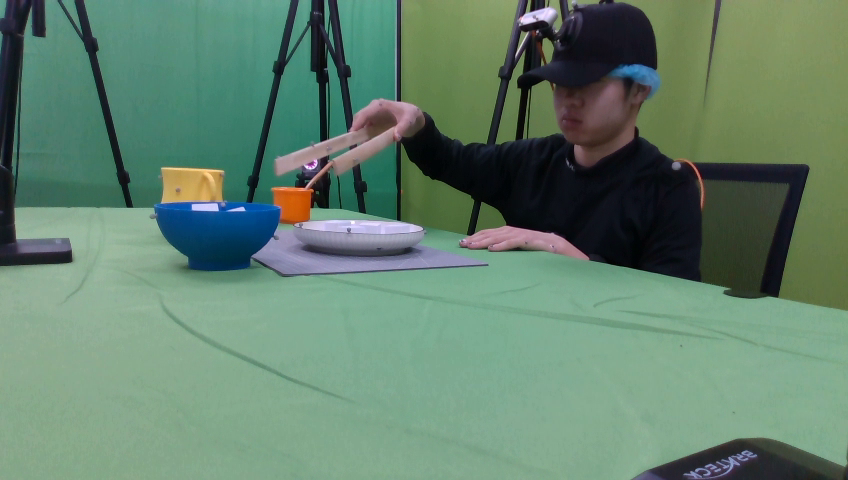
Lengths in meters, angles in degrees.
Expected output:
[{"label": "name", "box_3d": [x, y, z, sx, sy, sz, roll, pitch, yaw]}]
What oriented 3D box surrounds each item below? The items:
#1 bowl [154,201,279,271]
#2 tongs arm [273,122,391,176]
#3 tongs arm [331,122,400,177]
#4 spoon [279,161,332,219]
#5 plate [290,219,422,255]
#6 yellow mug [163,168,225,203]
[{"label": "bowl", "box_3d": [-0.261, -0.005, 0.770, 0.151, 0.077, 0.151, 3, 8, 0]}, {"label": "tongs arm", "box_3d": [-0.143, -0.166, 1.055, 0.050, 0.026, 0.385, 1, 19, 17]}, {"label": "tongs arm", "box_3d": [-0.092, -0.163, 1.041, 0.028, 0.028, 0.388, -4, 18, 14]}, {"label": "spoon", "box_3d": [-0.262, -0.115, 1.359, 0.041, 0.194, 0.022, 12, -33, 38]}, {"label": "plate", "box_3d": [-0.108, -0.005, 0.963, 0.208, 0.039, 0.207, 3, 7, 0]}, {"label": "yellow mug", "box_3d": [-0.383, -0.087, 1.026, 0.130, 0.064, 0.100, 11, 11, 44]}]
